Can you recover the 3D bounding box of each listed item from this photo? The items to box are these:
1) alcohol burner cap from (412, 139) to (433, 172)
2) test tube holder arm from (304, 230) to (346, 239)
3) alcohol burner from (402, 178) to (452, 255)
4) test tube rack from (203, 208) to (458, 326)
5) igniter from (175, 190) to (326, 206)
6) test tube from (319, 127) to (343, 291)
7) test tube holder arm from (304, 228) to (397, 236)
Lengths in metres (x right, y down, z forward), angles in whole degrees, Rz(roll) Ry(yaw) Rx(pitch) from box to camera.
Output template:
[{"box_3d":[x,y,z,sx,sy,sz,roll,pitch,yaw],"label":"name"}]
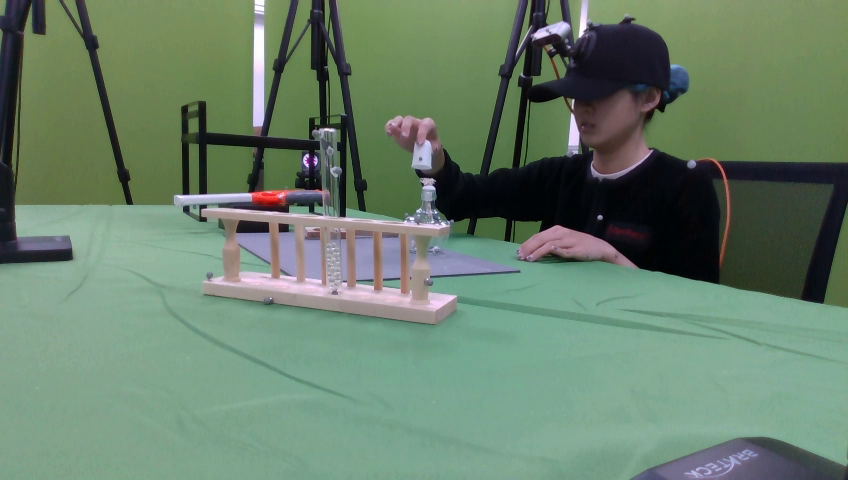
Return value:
[{"box_3d":[-0.001,-0.132,0.932,0.034,0.048,0.034,4,-6,1],"label":"alcohol burner cap"},{"box_3d":[-0.162,-0.010,1.040,0.088,0.015,0.010,0,43,-32],"label":"test tube holder arm"},{"box_3d":[0.005,-0.036,0.923,0.078,0.119,0.078,5,7,0],"label":"alcohol burner"},{"box_3d":[-0.090,0.019,0.579,0.242,0.085,0.067,5,7,19],"label":"test tube rack"},{"box_3d":[-0.315,-0.079,1.128,0.278,0.025,0.057,-5,13,-34],"label":"igniter"},{"box_3d":[-0.084,-0.027,0.552,0.017,0.150,0.017,-1,8,0],"label":"test tube"},{"box_3d":[-0.126,-0.014,1.068,0.179,0.015,0.013,-1,44,-33],"label":"test tube holder arm"}]
